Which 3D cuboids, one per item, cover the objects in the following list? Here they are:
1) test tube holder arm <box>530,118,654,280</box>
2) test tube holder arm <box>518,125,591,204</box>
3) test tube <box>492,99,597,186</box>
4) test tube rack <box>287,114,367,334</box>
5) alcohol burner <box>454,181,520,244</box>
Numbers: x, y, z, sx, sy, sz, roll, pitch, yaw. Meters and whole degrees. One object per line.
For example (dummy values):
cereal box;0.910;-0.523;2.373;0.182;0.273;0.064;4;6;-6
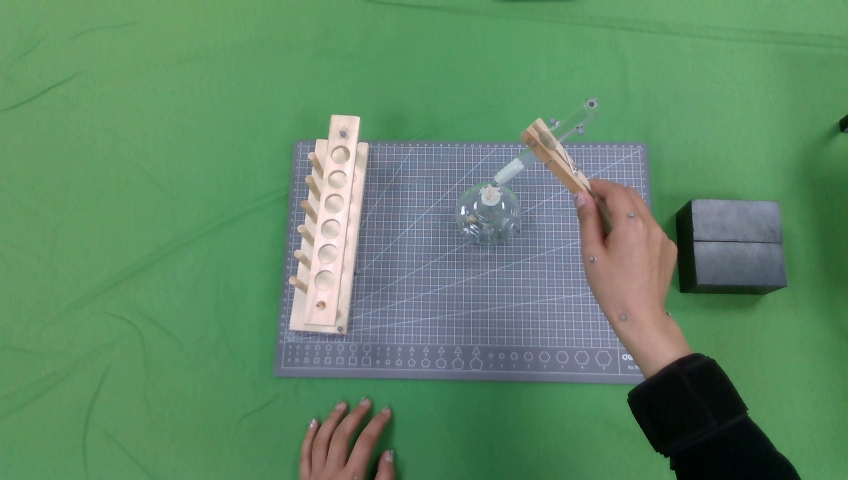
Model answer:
test tube holder arm;0.153;-0.036;0.553;0.013;0.015;0.178;-40;93;-27
test tube holder arm;0.120;-0.067;0.548;0.088;0.015;0.010;45;63;-6
test tube;0.104;-0.084;0.554;0.017;0.150;0.017;9;67;-23
test tube rack;-0.117;-0.018;0.705;0.067;0.085;0.241;4;75;2
alcohol burner;0.073;-0.036;0.691;0.078;0.119;0.077;0;76;2
